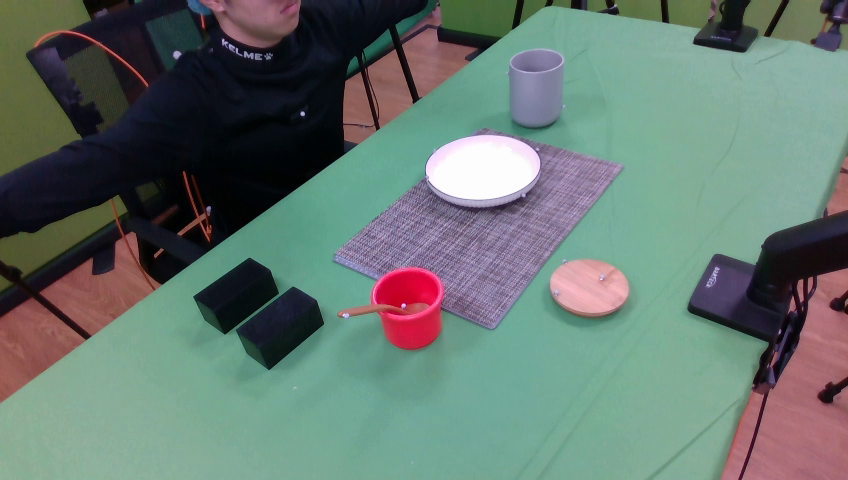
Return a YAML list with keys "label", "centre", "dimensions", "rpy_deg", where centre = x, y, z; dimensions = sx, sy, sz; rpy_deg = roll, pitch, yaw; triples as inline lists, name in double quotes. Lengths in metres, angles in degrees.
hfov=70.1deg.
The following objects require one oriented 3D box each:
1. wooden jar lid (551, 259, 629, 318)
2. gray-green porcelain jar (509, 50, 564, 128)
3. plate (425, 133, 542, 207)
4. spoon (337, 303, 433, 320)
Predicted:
- label: "wooden jar lid"
  centre: [0.234, 0.070, 0.857]
  dimensions: [0.108, 0.021, 0.108]
  rpy_deg: [-5, 40, 4]
- label: "gray-green porcelain jar"
  centre: [0.222, -0.297, 1.204]
  dimensions: [0.106, 0.127, 0.105]
  rpy_deg: [-4, 41, 4]
- label: "plate"
  centre: [0.106, -0.122, 1.079]
  dimensions: [0.207, 0.039, 0.206]
  rpy_deg: [-4, 41, 4]
- label: "spoon"
  centre: [-0.048, 0.091, 0.777]
  dimensions: [0.041, 0.021, 0.195]
  rpy_deg: [23, 5, 32]
